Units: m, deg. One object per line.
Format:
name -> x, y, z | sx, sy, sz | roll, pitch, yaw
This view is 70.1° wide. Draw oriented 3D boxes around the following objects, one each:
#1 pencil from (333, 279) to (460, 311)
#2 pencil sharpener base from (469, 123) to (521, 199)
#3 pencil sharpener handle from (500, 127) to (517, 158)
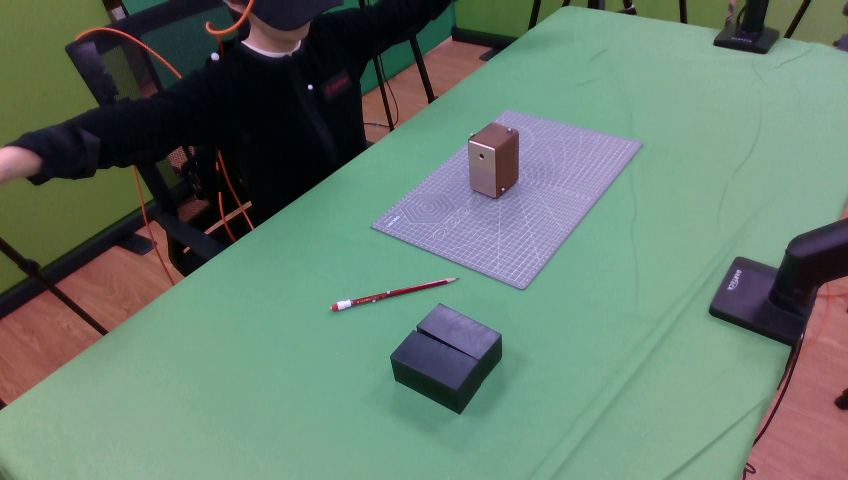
pencil -> -0.040, 0.080, 0.900 | 0.194, 0.012, 0.012 | -12, 40, -7
pencil sharpener base -> 0.126, -0.138, 1.050 | 0.061, 0.107, 0.077 | 24, 50, 33
pencil sharpener handle -> 0.155, -0.177, 1.071 | 0.036, 0.068, 0.031 | 32, 53, 24
